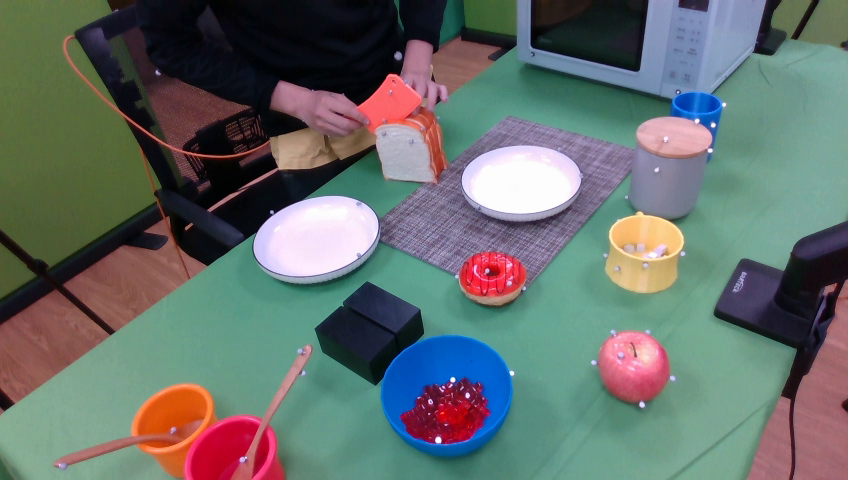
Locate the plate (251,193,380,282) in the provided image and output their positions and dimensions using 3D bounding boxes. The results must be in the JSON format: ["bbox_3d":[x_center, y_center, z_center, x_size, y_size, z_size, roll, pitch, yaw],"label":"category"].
[{"bbox_3d":[-0.173,-0.001,0.984,0.209,0.038,0.208,-4,40,4],"label":"plate"}]

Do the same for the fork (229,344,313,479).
[{"bbox_3d":[-0.173,0.205,0.662,0.028,0.019,0.207,29,94,36],"label":"fork"}]

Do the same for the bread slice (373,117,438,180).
[{"bbox_3d":[-0.038,-0.161,1.078,0.106,0.135,0.018,2,48,19],"label":"bread slice"}]

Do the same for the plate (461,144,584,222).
[{"bbox_3d":[0.168,-0.095,1.040,0.207,0.039,0.206,-4,40,4],"label":"plate"}]

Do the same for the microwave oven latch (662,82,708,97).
[{"bbox_3d":[0.518,-0.298,1.203,0.078,0.029,0.030,28,53,35],"label":"microwave oven latch"}]

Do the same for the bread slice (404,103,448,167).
[{"bbox_3d":[-0.013,-0.193,1.113,0.104,0.132,0.019,6,45,19],"label":"bread slice"}]

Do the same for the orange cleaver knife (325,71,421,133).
[{"bbox_3d":[-0.093,-0.222,1.054,0.210,0.077,0.012,-22,23,40],"label":"orange cleaver knife"}]

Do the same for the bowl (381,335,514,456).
[{"bbox_3d":[0.029,0.192,0.701,0.151,0.077,0.150,-4,40,4],"label":"bowl"}]

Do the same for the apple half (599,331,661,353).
[{"bbox_3d":[0.249,0.134,0.738,0.081,0.081,0.032,-1,46,7],"label":"apple half"}]

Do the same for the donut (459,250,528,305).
[{"bbox_3d":[0.100,0.053,0.872,0.099,0.048,0.098,-5,40,4],"label":"donut"}]

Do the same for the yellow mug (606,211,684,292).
[{"bbox_3d":[0.318,0.008,0.883,0.100,0.064,0.130,0,40,9],"label":"yellow mug"}]

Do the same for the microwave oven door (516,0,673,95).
[{"bbox_3d":[0.344,-0.458,1.256,0.353,0.245,0.039,26,51,33],"label":"microwave oven door"}]

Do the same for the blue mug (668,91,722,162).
[{"bbox_3d":[0.475,-0.207,1.079,0.082,0.106,0.116,4,42,13],"label":"blue mug"}]

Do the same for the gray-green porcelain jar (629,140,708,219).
[{"bbox_3d":[0.383,-0.105,0.958,0.106,0.127,0.105,-4,41,4],"label":"gray-green porcelain jar"}]

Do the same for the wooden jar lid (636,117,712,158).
[{"bbox_3d":[0.377,-0.151,0.917,0.108,0.021,0.108,-2,42,3],"label":"wooden jar lid"}]

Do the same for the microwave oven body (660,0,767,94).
[{"bbox_3d":[0.473,-0.517,1.313,0.438,0.261,0.327,26,51,34],"label":"microwave oven body"}]

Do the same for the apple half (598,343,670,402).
[{"bbox_3d":[0.247,0.161,0.710,0.081,0.075,0.053,2,46,5],"label":"apple half"}]

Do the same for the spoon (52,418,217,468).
[{"bbox_3d":[-0.308,0.220,0.663,0.041,0.195,0.021,21,93,29],"label":"spoon"}]
